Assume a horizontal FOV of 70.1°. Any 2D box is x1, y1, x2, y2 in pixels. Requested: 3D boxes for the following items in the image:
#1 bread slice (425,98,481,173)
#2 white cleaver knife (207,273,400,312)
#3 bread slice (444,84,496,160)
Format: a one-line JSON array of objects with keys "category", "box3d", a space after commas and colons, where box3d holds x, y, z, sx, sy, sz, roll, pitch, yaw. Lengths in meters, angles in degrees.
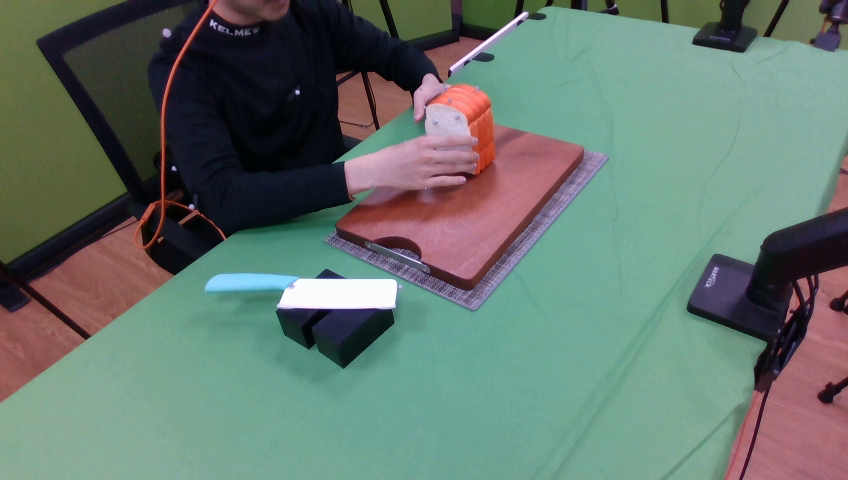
[{"category": "bread slice", "box3d": [0.046, -0.180, 1.037, 0.104, 0.132, 0.019, 20, 50, 31]}, {"category": "white cleaver knife", "box3d": [-0.173, 0.071, 0.846, 0.286, 0.021, 0.065, 0, 41, 11]}, {"category": "bread slice", "box3d": [0.080, -0.208, 1.064, 0.106, 0.135, 0.018, 26, 51, 29]}]
